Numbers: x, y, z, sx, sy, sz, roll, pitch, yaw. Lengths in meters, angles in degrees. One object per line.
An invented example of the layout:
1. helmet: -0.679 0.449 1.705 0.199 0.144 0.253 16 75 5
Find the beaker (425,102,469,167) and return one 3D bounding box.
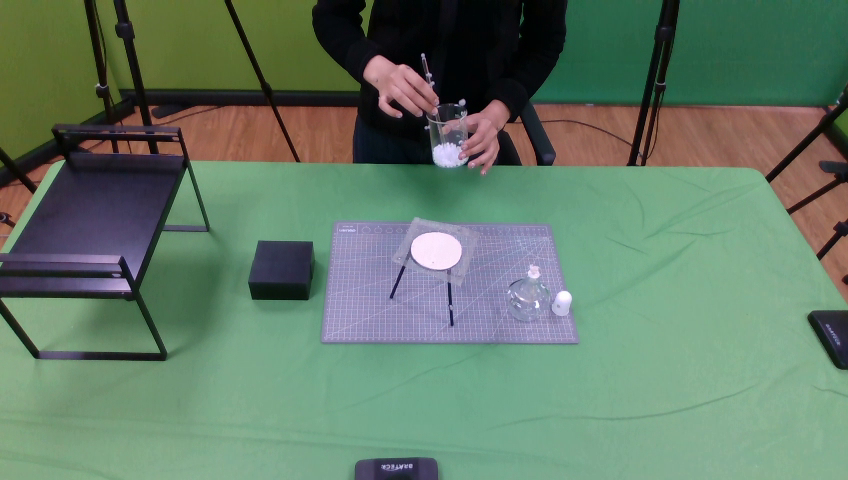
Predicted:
1. beaker: 0.046 -0.190 1.110 0.074 0.101 0.083 -21 41 -14

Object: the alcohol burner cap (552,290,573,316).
1. alcohol burner cap: 0.250 0.110 1.088 0.034 0.048 0.033 3 45 -3

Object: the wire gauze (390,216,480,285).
1. wire gauze: 0.020 0.012 1.009 0.125 0.011 0.121 16 47 12

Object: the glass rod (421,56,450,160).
1. glass rod: 0.022 -0.227 1.064 0.008 0.201 0.008 -11 36 8

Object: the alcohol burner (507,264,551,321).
1. alcohol burner: 0.185 0.086 1.056 0.078 0.120 0.077 1 47 0

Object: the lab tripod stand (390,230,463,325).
1. lab tripod stand: 0.014 0.060 1.056 0.148 0.132 0.147 1 48 -1
